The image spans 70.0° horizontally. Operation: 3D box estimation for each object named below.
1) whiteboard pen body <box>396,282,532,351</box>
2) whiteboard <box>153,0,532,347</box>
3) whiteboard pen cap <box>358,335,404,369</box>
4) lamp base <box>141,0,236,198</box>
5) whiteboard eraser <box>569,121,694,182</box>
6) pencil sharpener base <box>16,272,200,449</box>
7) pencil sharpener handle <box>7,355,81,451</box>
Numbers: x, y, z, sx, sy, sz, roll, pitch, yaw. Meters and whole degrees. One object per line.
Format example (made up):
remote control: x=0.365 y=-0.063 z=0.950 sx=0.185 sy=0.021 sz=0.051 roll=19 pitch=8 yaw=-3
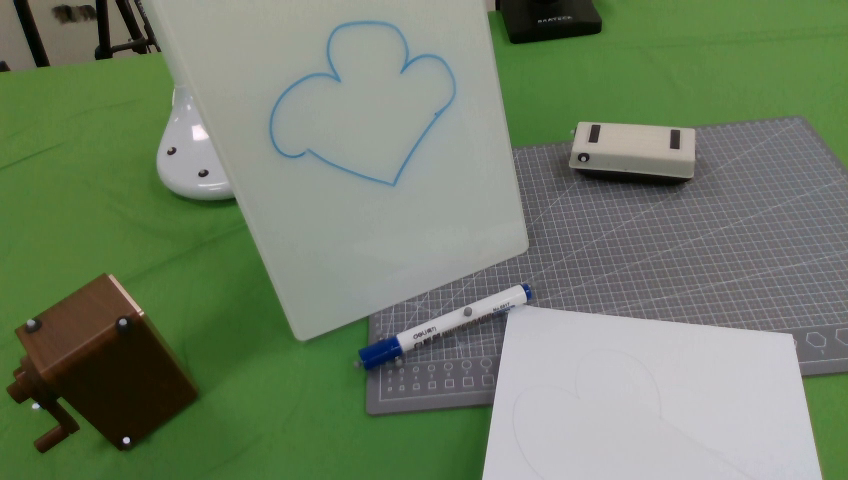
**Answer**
whiteboard pen body: x=0.021 y=0.064 z=0.478 sx=0.141 sy=0.017 sz=0.017 roll=-21 pitch=47 yaw=-11
whiteboard: x=-0.060 y=-0.107 z=0.504 sx=0.217 sy=0.308 sz=0.142 roll=-21 pitch=28 yaw=-11
whiteboard pen cap: x=-0.033 y=0.086 z=0.467 sx=0.033 sy=0.018 sz=0.018 roll=-22 pitch=47 yaw=-11
lamp base: x=-0.233 y=-0.161 z=0.626 sx=0.177 sy=0.182 sz=0.160 roll=26 pitch=55 yaw=32
whiteboard eraser: x=0.200 y=-0.085 z=0.584 sx=0.112 sy=0.042 sz=0.055 roll=8 pitch=49 yaw=15
pencil sharpener base: x=-0.223 y=0.089 z=0.435 sx=0.076 sy=0.108 sz=0.061 roll=-38 pitch=53 yaw=-25
pencil sharpener handle: x=-0.259 y=0.111 z=0.402 sx=0.030 sy=0.068 sz=0.035 roll=-38 pitch=40 yaw=-25
